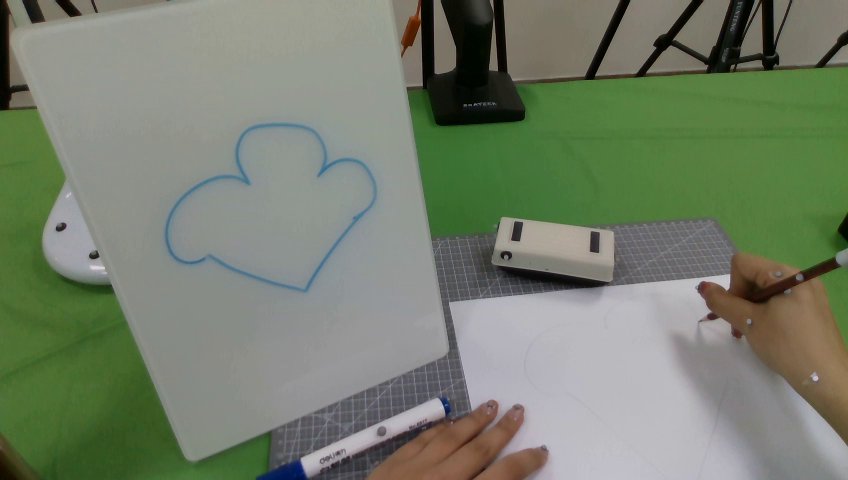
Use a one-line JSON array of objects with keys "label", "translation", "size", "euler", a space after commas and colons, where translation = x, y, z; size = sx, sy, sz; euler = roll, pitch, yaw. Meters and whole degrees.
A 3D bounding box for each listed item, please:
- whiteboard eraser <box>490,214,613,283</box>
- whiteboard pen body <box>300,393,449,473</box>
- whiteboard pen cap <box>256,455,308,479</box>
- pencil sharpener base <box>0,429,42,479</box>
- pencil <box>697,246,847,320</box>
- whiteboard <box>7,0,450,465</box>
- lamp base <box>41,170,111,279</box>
[{"label": "whiteboard eraser", "translation": [0.122, 0.009, 0.579], "size": [0.112, 0.042, 0.055], "euler": [9, 44, 9]}, {"label": "whiteboard pen body", "translation": [-0.045, 0.144, 0.440], "size": [0.141, 0.017, 0.017], "euler": [-19, 46, -19]}, {"label": "whiteboard pen cap", "translation": [-0.098, 0.162, 0.421], "size": [0.033, 0.018, 0.018], "euler": [-20, 46, -19]}, {"label": "pencil sharpener base", "translation": [-0.284, 0.156, 0.365], "size": [0.061, 0.108, 0.076], "euler": [32, 51, 29]}, {"label": "pencil", "translation": [0.259, 0.036, 0.452], "size": [0.012, 0.195, 0.012], "euler": [3, 68, -7]}, {"label": "whiteboard", "translation": [-0.125, -0.029, 0.468], "size": [0.218, 0.308, 0.142], "euler": [-19, 26, -19]}, {"label": "lamp base", "translation": [-0.310, -0.081, 0.571], "size": [0.178, 0.182, 0.160], "euler": [24, 47, 27]}]
